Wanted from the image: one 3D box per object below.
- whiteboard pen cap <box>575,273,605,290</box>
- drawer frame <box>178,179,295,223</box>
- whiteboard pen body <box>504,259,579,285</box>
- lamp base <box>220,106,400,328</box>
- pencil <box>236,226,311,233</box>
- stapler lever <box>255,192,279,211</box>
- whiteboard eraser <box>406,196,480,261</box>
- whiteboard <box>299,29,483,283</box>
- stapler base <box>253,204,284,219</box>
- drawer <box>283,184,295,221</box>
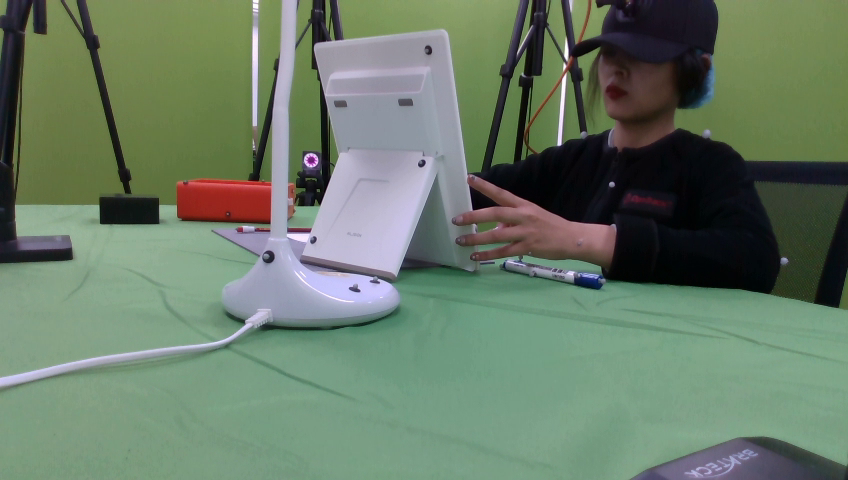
[{"bbox_3d":[0.197,0.048,0.719,0.018,0.018,0.033,-4,11,-41],"label":"whiteboard pen cap"},{"bbox_3d":[-0.397,-0.088,1.315,0.214,0.082,0.201,1,8,-7],"label":"drawer frame"},{"bbox_3d":[0.157,0.042,0.764,0.017,0.017,0.140,-4,10,-40],"label":"whiteboard pen body"},{"bbox_3d":[-0.101,-0.023,0.531,0.160,0.180,0.179,4,10,10],"label":"lamp base"},{"bbox_3d":[-0.239,-0.017,1.093,0.195,0.012,0.012,1,7,-27],"label":"pencil"},{"bbox_3d":[-0.337,-0.088,1.305,0.027,0.040,0.118,1,11,-1],"label":"stapler lever"},{"bbox_3d":[0.023,-0.014,0.829,0.112,0.055,0.042,28,49,32],"label":"whiteboard eraser"},{"bbox_3d":[-0.075,-0.082,0.741,0.216,0.305,0.144,9,29,38],"label":"whiteboard"},{"bbox_3d":[-0.337,-0.065,1.308,0.041,0.024,0.130,1,9,-1],"label":"stapler base"},{"bbox_3d":[-0.394,-0.087,1.317,0.212,0.073,0.194,1,8,-7],"label":"drawer"}]
